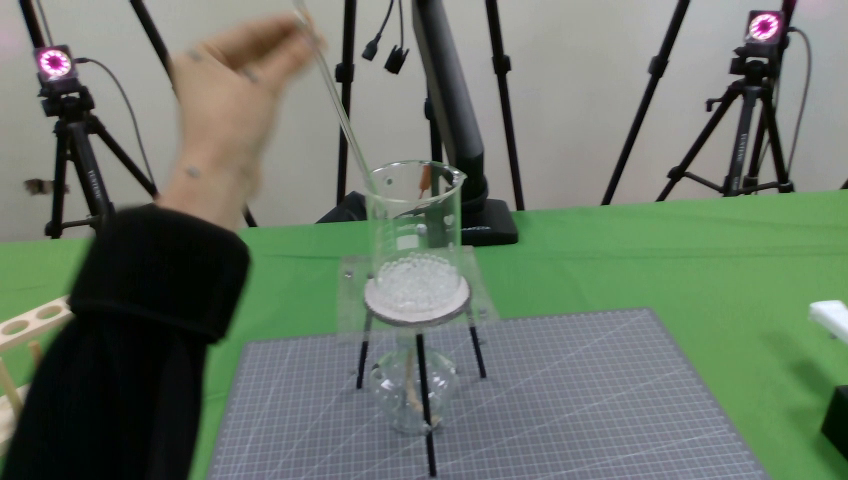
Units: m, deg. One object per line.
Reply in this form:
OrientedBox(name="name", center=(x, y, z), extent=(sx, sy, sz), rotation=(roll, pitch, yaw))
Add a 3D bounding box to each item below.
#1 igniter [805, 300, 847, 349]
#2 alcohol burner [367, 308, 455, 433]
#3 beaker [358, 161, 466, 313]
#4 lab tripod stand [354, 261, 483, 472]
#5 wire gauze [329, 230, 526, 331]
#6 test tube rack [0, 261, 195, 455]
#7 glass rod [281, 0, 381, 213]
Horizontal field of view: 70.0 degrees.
OrientedBox(name="igniter", center=(0.397, 0.124, 0.463), extent=(0.057, 0.025, 0.274), rotation=(-5, 26, -4))
OrientedBox(name="alcohol burner", center=(-0.011, 0.108, 0.525), extent=(0.078, 0.120, 0.077), rotation=(0, 29, 0))
OrientedBox(name="beaker", center=(-0.005, -0.002, 0.466), extent=(0.084, 0.101, 0.073), rotation=(-15, 33, -22))
OrientedBox(name="lab tripod stand", center=(-0.003, 0.099, 0.521), extent=(0.148, 0.132, 0.147), rotation=(0, 31, 1))
OrientedBox(name="wire gauze", center=(-0.001, 0.029, 0.477), extent=(0.125, 0.011, 0.120), rotation=(-11, 28, -24))
OrientedBox(name="test tube rack", center=(-0.351, 0.115, 0.572), extent=(0.066, 0.086, 0.242), rotation=(22, 37, 36))
OrientedBox(name="glass rod", center=(-0.065, -0.099, 0.391), extent=(0.008, 0.201, 0.008), rotation=(-15, 34, 10))
